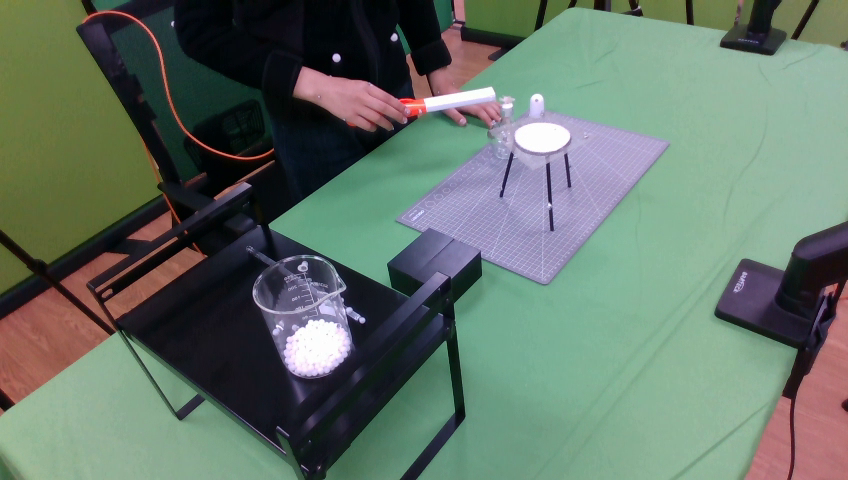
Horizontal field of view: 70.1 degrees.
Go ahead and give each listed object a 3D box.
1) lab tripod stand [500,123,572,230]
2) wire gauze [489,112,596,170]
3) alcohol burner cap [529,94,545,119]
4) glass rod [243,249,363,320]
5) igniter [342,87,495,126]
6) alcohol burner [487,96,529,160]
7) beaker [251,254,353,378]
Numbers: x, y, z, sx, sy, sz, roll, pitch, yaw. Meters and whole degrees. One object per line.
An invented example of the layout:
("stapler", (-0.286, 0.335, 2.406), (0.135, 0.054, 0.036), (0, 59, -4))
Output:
("lab tripod stand", (0.194, -0.110, 0.985), (0.148, 0.132, 0.147), (-3, 41, 3))
("wire gauze", (0.183, -0.161, 0.942), (0.122, 0.011, 0.124), (-24, 44, -18))
("alcohol burner cap", (0.233, -0.277, 1.247), (0.034, 0.048, 0.033), (-5, 41, 5))
("glass rod", (-0.141, 0.046, 0.674), (0.198, 0.008, 0.008), (24, 49, 32))
("igniter", (-0.010, -0.240, 1.086), (0.277, 0.025, 0.057), (-10, 42, -4))
("alcohol burner", (0.155, -0.211, 1.126), (0.078, 0.119, 0.077), (-6, 40, 5))
("beaker", (-0.106, 0.074, 0.565), (0.084, 0.101, 0.073), (-1, 41, 8))
